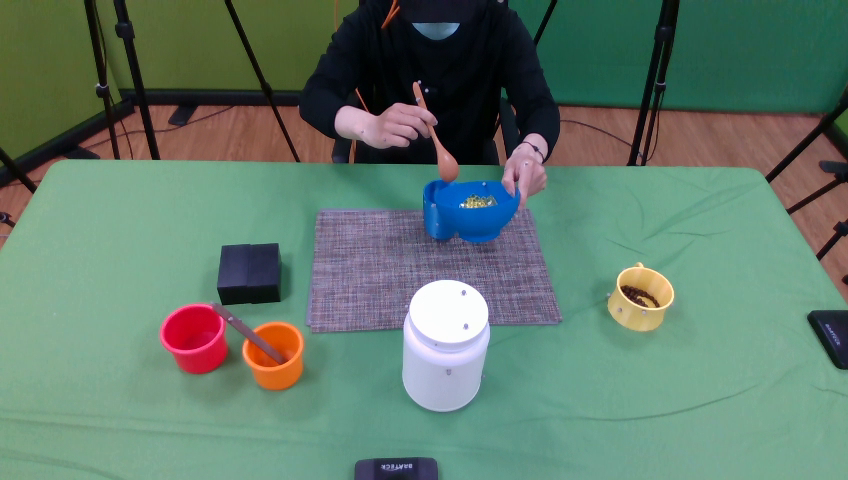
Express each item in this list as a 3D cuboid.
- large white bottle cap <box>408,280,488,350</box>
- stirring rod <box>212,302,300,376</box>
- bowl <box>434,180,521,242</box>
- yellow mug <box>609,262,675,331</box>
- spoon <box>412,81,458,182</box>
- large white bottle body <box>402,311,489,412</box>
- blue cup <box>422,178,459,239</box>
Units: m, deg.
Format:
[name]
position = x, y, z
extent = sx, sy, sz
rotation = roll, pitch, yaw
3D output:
[large white bottle cap]
position = 0.034, 0.105, 0.866
extent = 0.115, 0.018, 0.114
rotation = 2, 46, -1
[stirring rod]
position = -0.261, 0.156, 0.948
extent = 0.177, 0.006, 0.014
rotation = 46, 45, -20
[bowl]
position = 0.096, -0.046, 1.064
extent = 0.151, 0.077, 0.150
rotation = -5, 23, 2
[yellow mug]
position = 0.393, 0.094, 1.103
extent = 0.100, 0.064, 0.130
rotation = 7, 45, 3
[spoon]
position = 0.016, -0.196, 1.105
extent = 0.041, 0.194, 0.021
rotation = -28, 14, -13
[large white bottle body]
position = 0.031, 0.163, 0.928
extent = 0.131, 0.185, 0.130
rotation = 2, 46, -2
[blue cup]
position = 0.036, -0.056, 1.192
extent = 0.093, 0.101, 0.092
rotation = 3, 45, -3
